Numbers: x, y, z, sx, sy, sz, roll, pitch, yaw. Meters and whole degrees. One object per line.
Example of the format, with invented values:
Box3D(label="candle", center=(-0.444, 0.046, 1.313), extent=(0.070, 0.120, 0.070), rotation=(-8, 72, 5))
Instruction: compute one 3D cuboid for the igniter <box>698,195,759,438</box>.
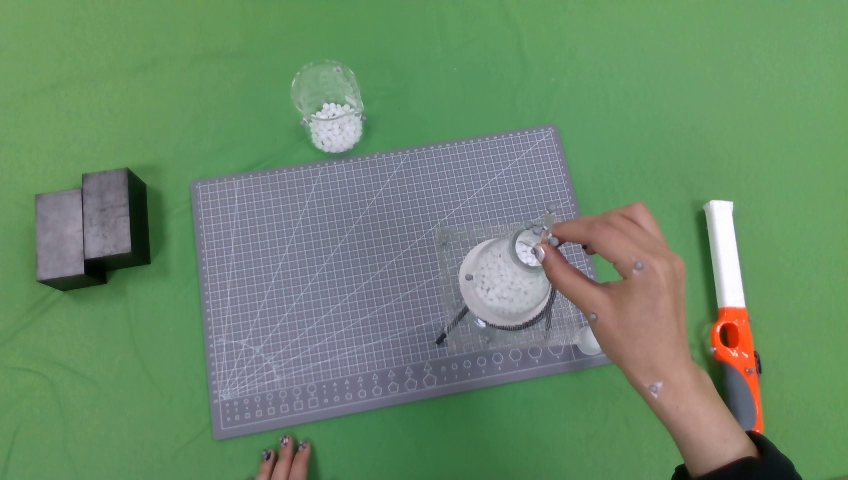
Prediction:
Box3D(label="igniter", center=(0.345, 0.081, 0.689), extent=(0.057, 0.025, 0.275), rotation=(4, 74, -12))

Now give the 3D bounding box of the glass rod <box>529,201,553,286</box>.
Box3D(label="glass rod", center=(0.088, 0.009, 0.466), extent=(0.008, 0.201, 0.008), rotation=(-2, 72, 7))

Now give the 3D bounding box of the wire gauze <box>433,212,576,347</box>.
Box3D(label="wire gauze", center=(0.075, 0.037, 0.566), extent=(0.125, 0.011, 0.121), rotation=(-4, 77, -5))

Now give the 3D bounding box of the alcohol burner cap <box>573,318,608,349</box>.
Box3D(label="alcohol burner cap", center=(0.186, 0.102, 0.668), extent=(0.034, 0.048, 0.033), rotation=(0, 74, -1))

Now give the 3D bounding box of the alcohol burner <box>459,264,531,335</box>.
Box3D(label="alcohol burner", center=(0.076, 0.059, 0.639), extent=(0.078, 0.119, 0.077), rotation=(0, 75, 1))

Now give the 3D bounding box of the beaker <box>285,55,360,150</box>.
Box3D(label="beaker", center=(-0.109, -0.153, 0.701), extent=(0.084, 0.100, 0.074), rotation=(25, 75, 4))

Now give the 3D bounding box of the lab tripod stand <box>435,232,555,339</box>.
Box3D(label="lab tripod stand", center=(0.075, 0.056, 0.629), extent=(0.148, 0.132, 0.147), rotation=(0, 76, -1))

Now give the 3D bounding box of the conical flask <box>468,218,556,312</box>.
Box3D(label="conical flask", center=(0.079, 0.016, 0.510), extent=(0.075, 0.122, 0.075), rotation=(1, 76, -2))
